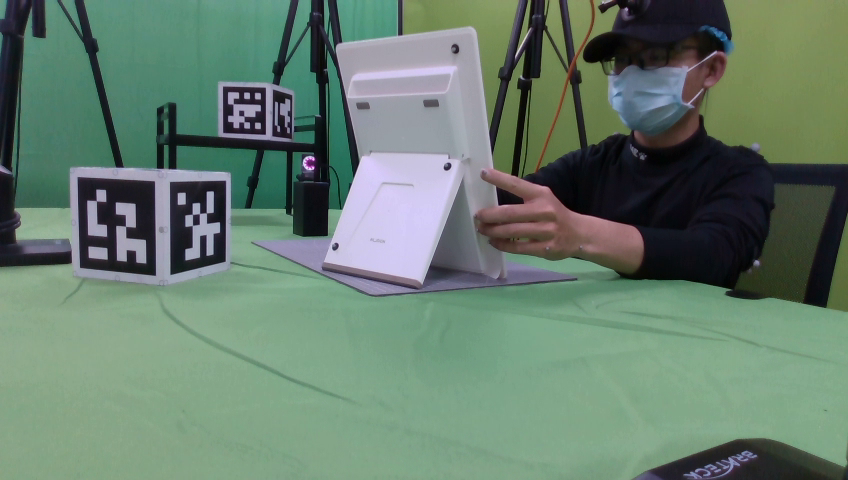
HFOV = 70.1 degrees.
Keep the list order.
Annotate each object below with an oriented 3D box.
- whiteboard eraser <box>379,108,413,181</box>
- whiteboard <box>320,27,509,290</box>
[{"bbox_3d":[-0.037,-0.125,0.796,0.041,0.101,0.019,25,41,23],"label":"whiteboard eraser"},{"bbox_3d":[-0.046,-0.076,0.721,0.216,0.305,0.144,9,29,39],"label":"whiteboard"}]
